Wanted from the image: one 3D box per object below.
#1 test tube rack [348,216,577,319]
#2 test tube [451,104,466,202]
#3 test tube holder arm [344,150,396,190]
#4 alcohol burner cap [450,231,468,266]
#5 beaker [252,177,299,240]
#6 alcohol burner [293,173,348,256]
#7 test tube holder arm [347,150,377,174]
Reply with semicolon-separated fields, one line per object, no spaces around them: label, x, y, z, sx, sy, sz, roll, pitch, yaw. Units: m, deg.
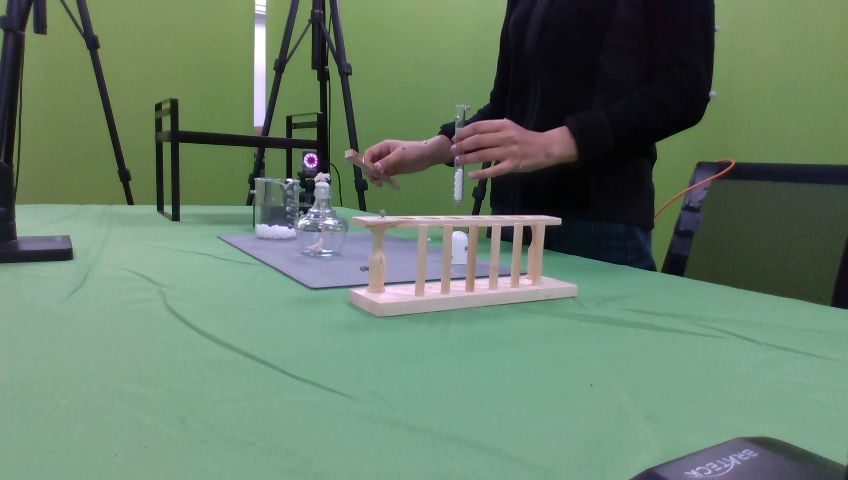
test tube rack;0.048;0.021;0.619;0.244;0.085;0.066;-2;8;-31
test tube;0.053;-0.133;0.930;0.017;0.150;0.017;2;11;0
test tube holder arm;-0.097;-0.128;1.127;0.013;0.015;0.179;3;-13;25
alcohol burner cap;0.046;0.012;0.839;0.034;0.048;0.034;3;6;0
beaker;-0.245;-0.052;1.005;0.074;0.100;0.083;-3;10;-32
alcohol burner;-0.147;-0.036;0.859;0.078;0.119;0.078;4;8;0
test tube holder arm;-0.110;-0.139;1.084;0.010;0.015;0.088;3;-13;27
